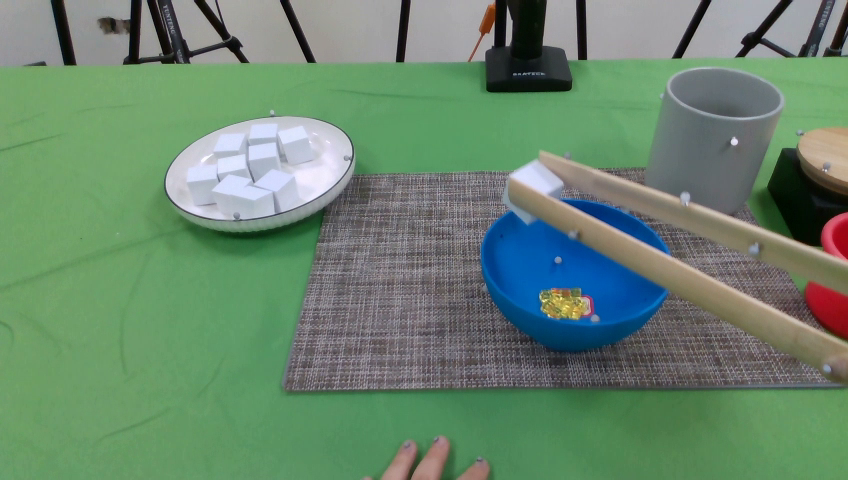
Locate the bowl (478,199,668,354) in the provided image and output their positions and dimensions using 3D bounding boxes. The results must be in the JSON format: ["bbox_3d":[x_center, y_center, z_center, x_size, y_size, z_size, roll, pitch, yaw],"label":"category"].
[{"bbox_3d":[0.119,0.042,0.506,0.151,0.077,0.150,-1,41,2],"label":"bowl"}]

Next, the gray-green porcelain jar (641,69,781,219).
[{"bbox_3d":[0.281,-0.091,0.612,0.106,0.127,0.105,-2,41,2],"label":"gray-green porcelain jar"}]

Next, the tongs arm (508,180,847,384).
[{"bbox_3d":[0.197,0.041,0.347,0.028,0.028,0.383,-35,47,-28],"label":"tongs arm"}]

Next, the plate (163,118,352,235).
[{"bbox_3d":[-0.183,-0.071,0.684,0.209,0.038,0.207,-2,41,2],"label":"plate"}]

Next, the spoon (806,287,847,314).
[{"bbox_3d":[0.406,0.019,0.473,0.022,0.193,0.041,43,42,-18],"label":"spoon"}]

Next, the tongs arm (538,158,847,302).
[{"bbox_3d":[0.215,0.027,0.357,0.381,0.027,0.050,27,55,35],"label":"tongs arm"}]

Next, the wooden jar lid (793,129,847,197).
[{"bbox_3d":[0.421,-0.074,0.597,0.108,0.021,0.107,-2,41,2],"label":"wooden jar lid"}]
